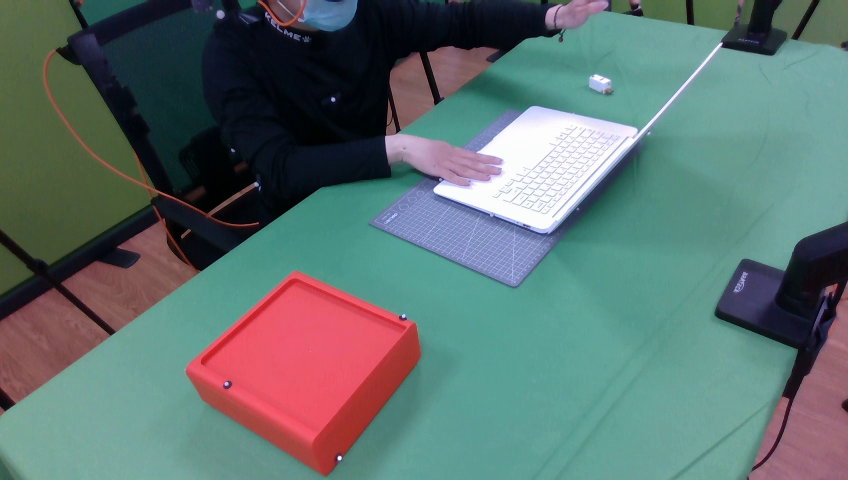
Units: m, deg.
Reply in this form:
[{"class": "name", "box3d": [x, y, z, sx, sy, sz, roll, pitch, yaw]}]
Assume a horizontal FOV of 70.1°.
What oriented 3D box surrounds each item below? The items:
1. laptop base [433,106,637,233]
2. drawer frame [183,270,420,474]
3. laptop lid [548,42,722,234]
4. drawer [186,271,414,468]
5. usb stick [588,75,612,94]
[{"class": "laptop base", "box3d": [0.210, -0.142, 1.111, 0.233, 0.023, 0.355, 21, 48, 33]}, {"class": "drawer frame", "box3d": [-0.148, 0.153, 0.767, 0.212, 0.083, 0.202, 19, 46, 27]}, {"class": "laptop lid", "box3d": [0.335, -0.161, 0.956, 0.013, 0.241, 0.358, 42, 54, 8]}, {"class": "drawer", "box3d": [-0.151, 0.153, 0.767, 0.210, 0.073, 0.195, 20, 46, 28]}, {"class": "usb stick", "box3d": [0.381, -0.333, 1.303, 0.021, 0.027, 0.058, -25, 47, -22]}]
